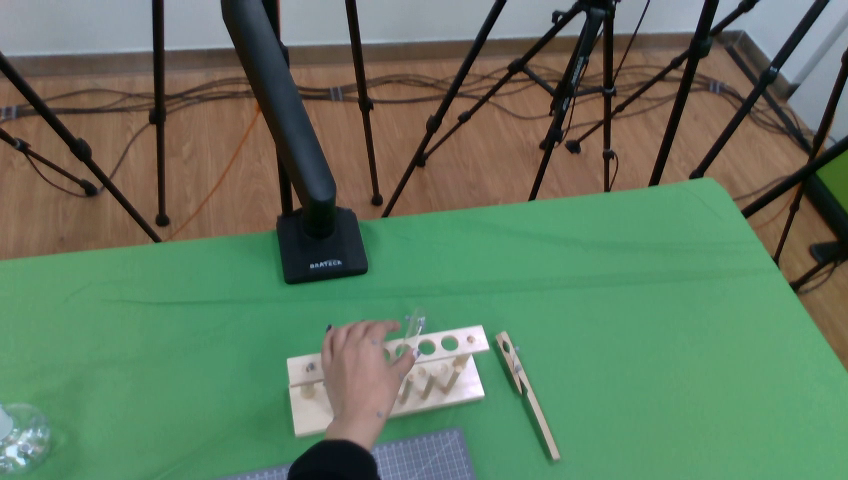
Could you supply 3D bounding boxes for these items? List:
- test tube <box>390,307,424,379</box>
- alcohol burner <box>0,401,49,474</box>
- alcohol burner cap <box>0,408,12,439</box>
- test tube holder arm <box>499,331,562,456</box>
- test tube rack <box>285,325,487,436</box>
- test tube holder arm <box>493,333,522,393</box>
[{"bbox_3d":[-0.022,0.127,0.726,0.017,0.151,0.017,8,49,-9],"label":"test tube"},{"bbox_3d":[-0.444,0.201,0.635,0.078,0.120,0.077,4,52,-5],"label":"alcohol burner"},{"bbox_3d":[-0.439,0.178,0.608,0.034,0.048,0.033,8,46,-8],"label":"alcohol burner cap"},{"bbox_3d":[0.138,0.200,0.804,0.013,0.015,0.176,-32,60,12],"label":"test tube holder arm"},{"bbox_3d":[-0.044,0.173,0.750,0.243,0.086,0.066,-7,56,-16],"label":"test tube rack"},{"bbox_3d":[0.117,0.168,0.828,0.010,0.015,0.087,-31,60,12],"label":"test tube holder arm"}]
